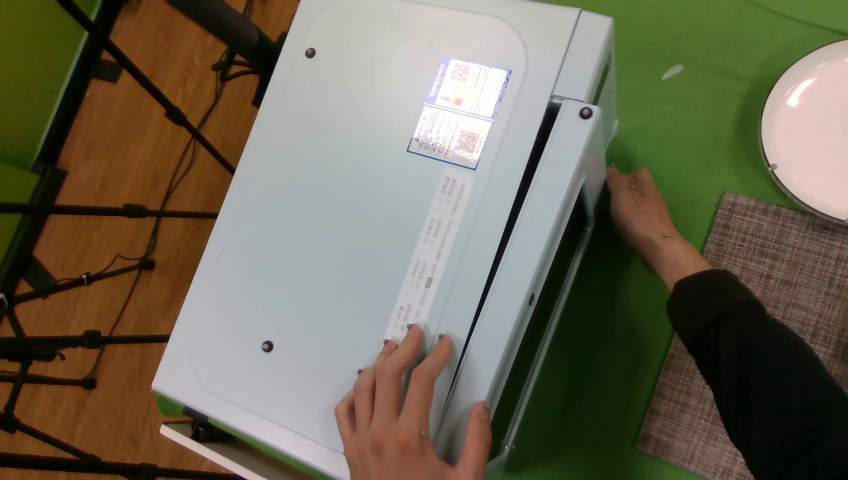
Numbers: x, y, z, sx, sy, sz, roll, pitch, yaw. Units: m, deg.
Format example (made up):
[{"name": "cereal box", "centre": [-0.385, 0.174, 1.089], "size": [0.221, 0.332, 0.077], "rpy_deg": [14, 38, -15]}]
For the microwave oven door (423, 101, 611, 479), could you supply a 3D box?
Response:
[{"name": "microwave oven door", "centre": [0.099, 0.075, 0.586], "size": [0.039, 0.245, 0.355], "rpy_deg": [20, 86, 22]}]

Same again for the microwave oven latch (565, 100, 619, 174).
[{"name": "microwave oven latch", "centre": [0.195, -0.118, 0.703], "size": [0.030, 0.030, 0.079], "rpy_deg": [37, 92, 20]}]

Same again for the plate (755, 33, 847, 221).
[{"name": "plate", "centre": [0.461, -0.116, 0.636], "size": [0.207, 0.039, 0.206], "rpy_deg": [-4, 78, 17]}]

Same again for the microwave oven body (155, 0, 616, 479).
[{"name": "microwave oven body", "centre": [-0.022, -0.008, 0.647], "size": [0.324, 0.262, 0.441], "rpy_deg": [18, 85, 20]}]
